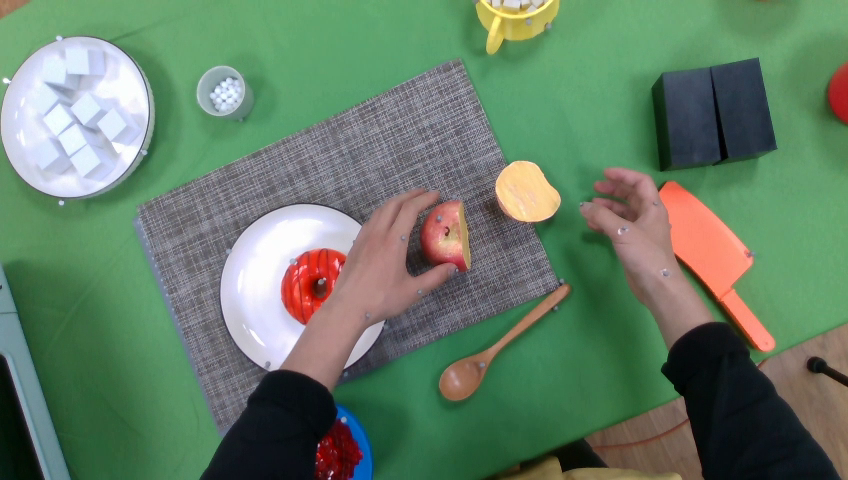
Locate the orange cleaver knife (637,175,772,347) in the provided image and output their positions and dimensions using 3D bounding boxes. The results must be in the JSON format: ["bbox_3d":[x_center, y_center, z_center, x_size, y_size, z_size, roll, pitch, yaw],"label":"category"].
[{"bbox_3d":[0.324,0.021,0.675,0.077,0.012,0.210,-39,83,1],"label":"orange cleaver knife"}]

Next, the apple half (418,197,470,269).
[{"bbox_3d":[0.021,-0.006,0.685,0.053,0.075,0.081,-9,90,11],"label":"apple half"}]

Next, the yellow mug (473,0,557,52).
[{"bbox_3d":[0.098,-0.278,0.692,0.100,0.064,0.131,23,92,8],"label":"yellow mug"}]

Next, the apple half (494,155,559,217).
[{"bbox_3d":[0.110,-0.055,0.692,0.081,0.033,0.080,8,64,-16],"label":"apple half"}]

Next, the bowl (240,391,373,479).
[{"bbox_3d":[-0.124,0.243,0.697,0.151,0.077,0.151,0,88,8],"label":"bowl"}]

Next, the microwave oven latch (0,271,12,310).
[{"bbox_3d":[-0.550,0.051,0.761,0.030,0.029,0.079,-20,86,6],"label":"microwave oven latch"}]

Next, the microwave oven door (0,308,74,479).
[{"bbox_3d":[-0.486,0.250,0.643,0.039,0.244,0.355,-22,85,6],"label":"microwave oven door"}]

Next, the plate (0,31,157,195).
[{"bbox_3d":[-0.434,-0.159,0.773,0.207,0.039,0.207,0,88,8],"label":"plate"}]

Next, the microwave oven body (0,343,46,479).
[{"bbox_3d":[-0.635,0.265,0.667,0.326,0.261,0.440,-22,86,6],"label":"microwave oven body"}]

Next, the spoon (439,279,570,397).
[{"bbox_3d":[0.095,0.112,0.700,0.194,0.022,0.041,-42,65,5],"label":"spoon"}]

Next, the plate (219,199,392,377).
[{"bbox_3d":[-0.139,0.056,0.722,0.209,0.038,0.209,0,88,8],"label":"plate"}]

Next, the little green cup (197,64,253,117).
[{"bbox_3d":[-0.243,-0.182,0.748,0.061,0.039,0.061,0,87,8],"label":"little green cup"}]

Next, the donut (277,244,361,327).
[{"bbox_3d":[-0.122,0.053,0.708,0.099,0.048,0.099,0,90,7],"label":"donut"}]
